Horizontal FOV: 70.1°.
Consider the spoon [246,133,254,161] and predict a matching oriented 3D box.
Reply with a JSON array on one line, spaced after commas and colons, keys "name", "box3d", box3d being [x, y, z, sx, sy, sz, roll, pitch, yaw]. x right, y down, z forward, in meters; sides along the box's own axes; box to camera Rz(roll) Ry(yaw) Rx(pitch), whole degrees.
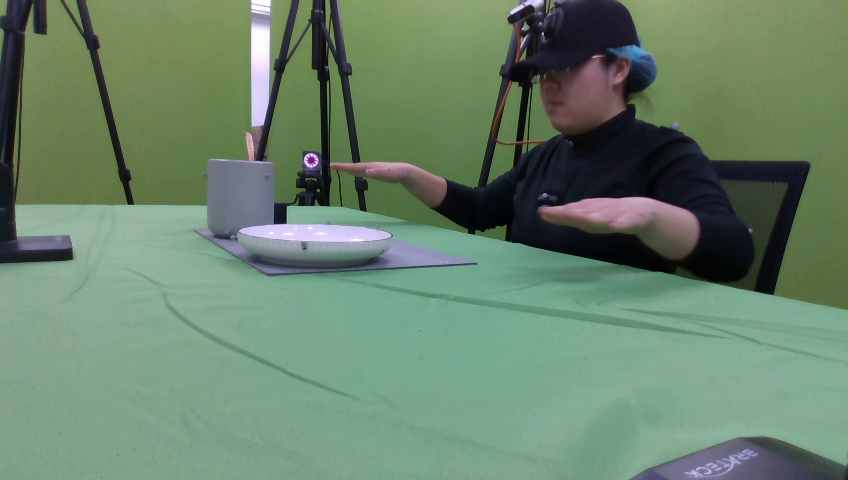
[{"name": "spoon", "box3d": [-0.344, -0.153, 1.209, 0.042, 0.021, 0.193, 3, 51, -22]}]

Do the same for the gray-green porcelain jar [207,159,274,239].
[{"name": "gray-green porcelain jar", "box3d": [-0.304, -0.068, 1.004, 0.106, 0.126, 0.106, 3, 7, 0]}]

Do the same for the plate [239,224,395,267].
[{"name": "plate", "box3d": [-0.144, 0.007, 0.823, 0.208, 0.039, 0.207, 3, 7, 0]}]
